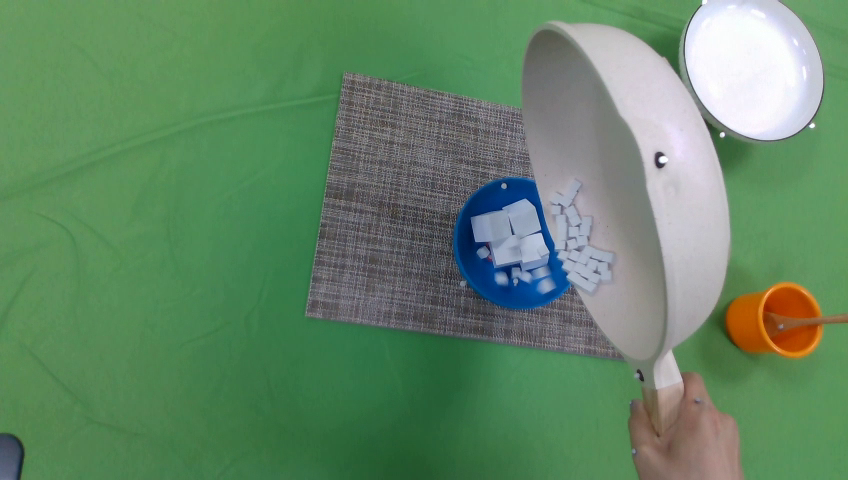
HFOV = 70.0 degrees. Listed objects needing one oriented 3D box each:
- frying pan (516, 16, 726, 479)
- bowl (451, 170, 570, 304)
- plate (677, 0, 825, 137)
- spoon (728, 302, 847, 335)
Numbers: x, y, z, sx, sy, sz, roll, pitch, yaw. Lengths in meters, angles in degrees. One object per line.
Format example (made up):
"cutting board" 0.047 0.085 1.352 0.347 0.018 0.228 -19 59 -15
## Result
"frying pan" 0.176 0.053 0.505 0.103 0.307 0.486 -10 84 1
"bowl" 0.097 0.002 0.703 0.152 0.077 0.151 2 80 -11
"plate" 0.419 -0.231 0.788 0.208 0.039 0.207 2 82 -11
"spoon" 0.478 0.089 0.739 0.022 0.193 0.041 6 75 -56
